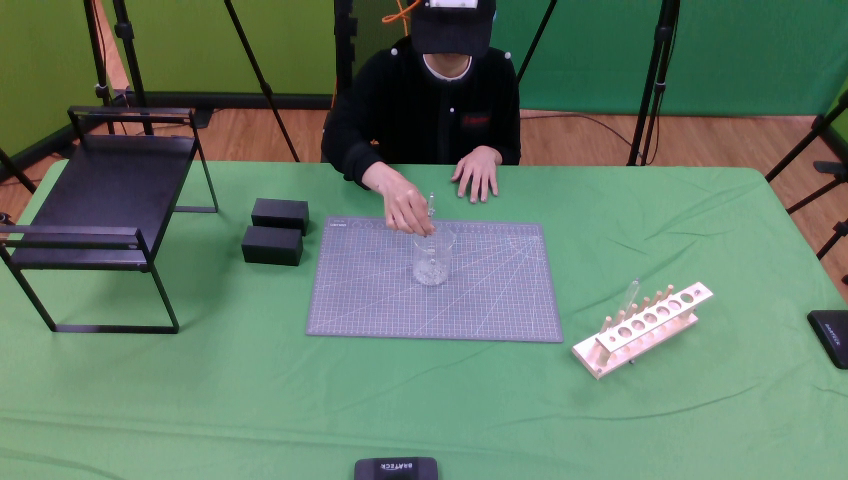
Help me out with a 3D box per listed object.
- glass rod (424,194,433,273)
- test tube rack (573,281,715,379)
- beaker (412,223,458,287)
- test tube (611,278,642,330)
[{"bbox_3d":[0.008,-0.006,1.067,0.008,0.200,0.008,2,47,-2],"label":"glass rod"},{"bbox_3d":[0.378,0.140,1.038,0.242,0.085,0.066,-22,51,-23],"label":"test tube rack"},{"bbox_3d":[0.018,0.030,1.109,0.084,0.101,0.073,-10,48,-14],"label":"beaker"},{"bbox_3d":[0.332,0.113,0.999,0.017,0.151,0.017,1,48,-1],"label":"test tube"}]
